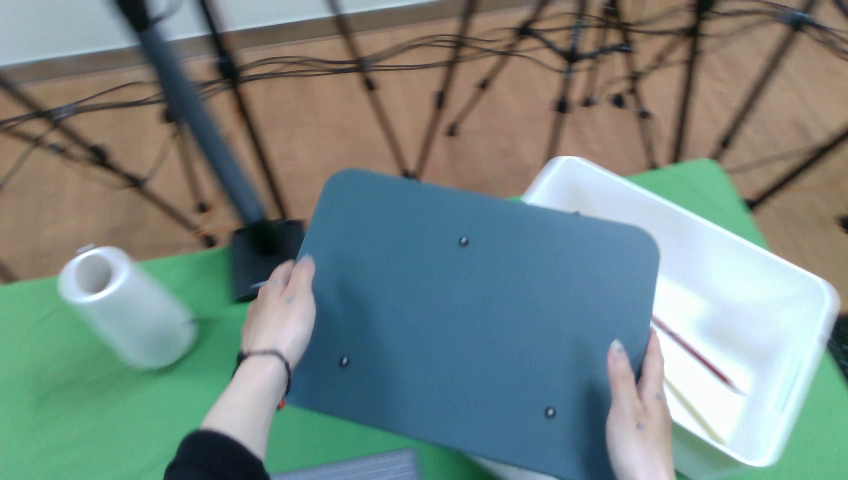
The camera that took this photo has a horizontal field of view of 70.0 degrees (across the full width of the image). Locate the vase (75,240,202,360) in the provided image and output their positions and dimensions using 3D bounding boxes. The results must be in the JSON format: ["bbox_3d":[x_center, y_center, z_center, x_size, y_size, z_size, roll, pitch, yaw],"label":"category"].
[{"bbox_3d":[-0.355,0.078,0.767,0.098,0.201,0.097,0,58,0],"label":"vase"}]

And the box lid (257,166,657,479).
[{"bbox_3d":[0.038,0.070,0.615,0.371,0.015,0.262,12,70,8],"label":"box lid"}]

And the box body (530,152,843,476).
[{"bbox_3d":[0.272,0.092,0.771,0.362,0.162,0.253,32,65,18],"label":"box body"}]

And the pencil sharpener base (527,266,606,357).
[{"bbox_3d":[0.185,0.094,0.795,0.061,0.108,0.076,38,68,21],"label":"pencil sharpener base"}]

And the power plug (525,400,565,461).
[{"bbox_3d":[0.154,0.237,0.736,0.072,0.053,0.035,-36,63,-22],"label":"power plug"}]

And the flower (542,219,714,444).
[{"bbox_3d":[0.278,0.119,0.837,0.044,0.038,0.359,-35,69,8],"label":"flower"}]

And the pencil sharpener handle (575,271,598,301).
[{"bbox_3d":[0.221,0.056,0.802,0.035,0.068,0.030,35,67,26],"label":"pencil sharpener handle"}]

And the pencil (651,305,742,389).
[{"bbox_3d":[0.355,0.132,0.829,0.012,0.012,0.192,-37,68,-19],"label":"pencil"}]

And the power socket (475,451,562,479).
[{"bbox_3d":[0.077,0.230,0.768,0.225,0.033,0.072,35,65,20],"label":"power socket"}]
